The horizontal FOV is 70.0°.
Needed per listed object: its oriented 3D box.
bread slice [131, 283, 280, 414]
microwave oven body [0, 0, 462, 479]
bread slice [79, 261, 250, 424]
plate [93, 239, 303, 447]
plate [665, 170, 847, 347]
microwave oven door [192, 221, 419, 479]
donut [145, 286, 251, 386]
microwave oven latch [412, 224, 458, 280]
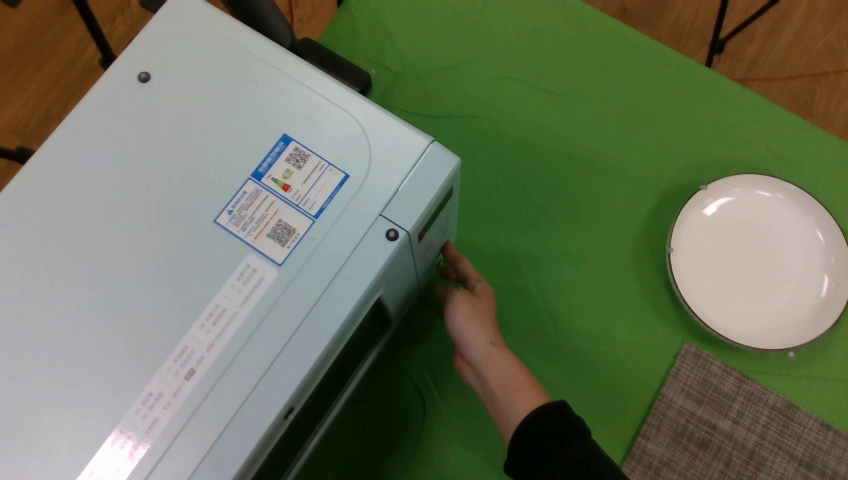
[{"bbox_3d":[-0.235,0.118,0.640,0.131,0.019,0.104,-35,78,-30],"label":"bread slice"},{"bbox_3d":[-0.218,0.049,0.590,0.325,0.261,0.441,33,79,9],"label":"microwave oven body"},{"bbox_3d":[-0.235,0.086,0.573,0.107,0.018,0.134,43,72,1],"label":"bread slice"},{"bbox_3d":[-0.227,0.103,0.625,0.209,0.038,0.208,1,78,-2],"label":"plate"},{"bbox_3d":[0.381,0.021,0.703,0.207,0.039,0.206,0,75,1],"label":"plate"},{"bbox_3d":[-0.121,0.159,0.553,0.039,0.245,0.355,32,78,10],"label":"microwave oven door"},{"bbox_3d":[-0.221,0.094,0.598,0.099,0.048,0.098,3,73,-11],"label":"donut"},{"bbox_3d":[0.006,0.008,0.695,0.030,0.029,0.079,40,80,10],"label":"microwave oven latch"}]
